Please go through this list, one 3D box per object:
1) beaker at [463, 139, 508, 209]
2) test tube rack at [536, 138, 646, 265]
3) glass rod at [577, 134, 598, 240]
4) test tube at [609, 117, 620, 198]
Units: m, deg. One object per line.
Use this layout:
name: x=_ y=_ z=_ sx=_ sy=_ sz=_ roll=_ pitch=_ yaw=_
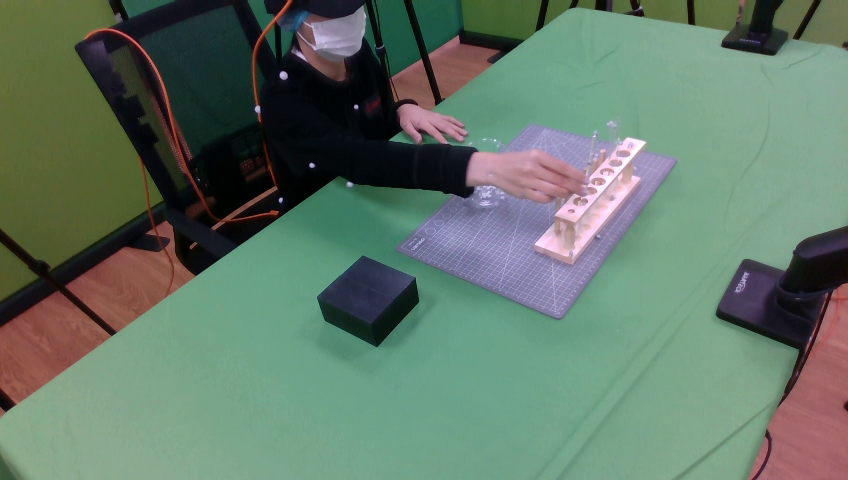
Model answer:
beaker: x=0.108 y=-0.111 z=1.027 sx=0.073 sy=0.101 sz=0.084 roll=25 pitch=49 yaw=33
test tube rack: x=0.268 y=-0.071 z=0.964 sx=0.066 sy=0.085 sz=0.243 roll=23 pitch=49 yaw=32
glass rod: x=0.233 y=-0.069 z=0.864 sx=0.008 sy=0.200 sz=0.008 roll=-3 pitch=46 yaw=3
test tube: x=0.298 y=-0.125 z=0.946 sx=0.017 sy=0.151 sz=0.017 roll=-8 pitch=42 yaw=8
